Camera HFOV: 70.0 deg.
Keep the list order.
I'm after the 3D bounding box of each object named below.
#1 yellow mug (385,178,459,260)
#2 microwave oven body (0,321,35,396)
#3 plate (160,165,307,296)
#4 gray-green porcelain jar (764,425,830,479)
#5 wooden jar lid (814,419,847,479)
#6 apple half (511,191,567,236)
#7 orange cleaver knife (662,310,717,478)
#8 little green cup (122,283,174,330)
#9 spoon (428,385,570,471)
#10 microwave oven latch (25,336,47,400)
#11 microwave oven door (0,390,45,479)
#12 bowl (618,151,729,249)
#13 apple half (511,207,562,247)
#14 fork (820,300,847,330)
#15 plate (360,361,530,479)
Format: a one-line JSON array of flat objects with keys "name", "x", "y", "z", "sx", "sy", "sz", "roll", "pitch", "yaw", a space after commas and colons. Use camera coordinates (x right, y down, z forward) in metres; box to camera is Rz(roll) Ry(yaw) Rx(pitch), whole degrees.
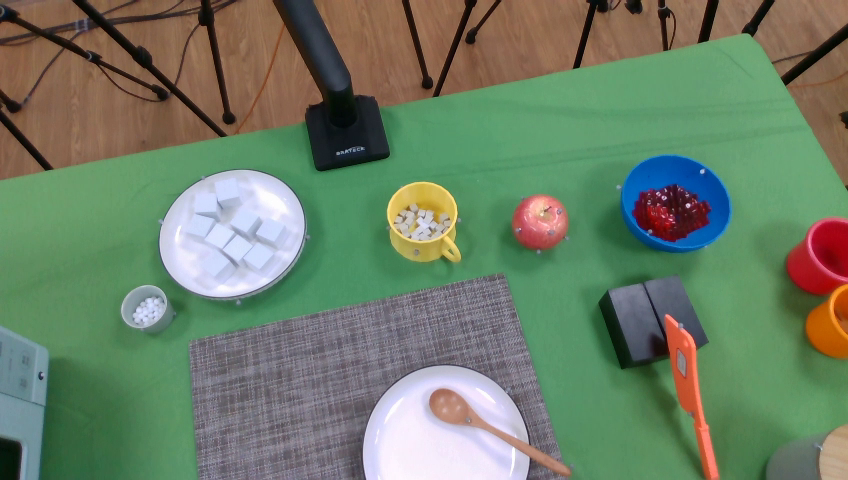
[{"name": "yellow mug", "x": 0.006, "y": -0.020, "z": 0.873, "sx": 0.100, "sy": 0.064, "sz": 0.130, "roll": -39, "pitch": 72, "yaw": -16}, {"name": "microwave oven body", "x": -0.626, "y": 0.306, "z": 0.612, "sx": 0.326, "sy": 0.262, "sz": 0.438, "roll": -9, "pitch": 66, "yaw": -5}, {"name": "plate", "x": -0.273, "y": -0.013, "z": 0.885, "sx": 0.208, "sy": 0.039, "sz": 0.206, "roll": 0, "pitch": 65, "yaw": 0}, {"name": "gray-green porcelain jar", "x": 0.472, "y": 0.275, "z": 0.705, "sx": 0.106, "sy": 0.127, "sz": 0.105, "roll": 0, "pitch": 65, "yaw": 0}, {"name": "wooden jar lid", "x": 0.471, "y": 0.247, "z": 0.649, "sx": 0.108, "sy": 0.021, "sz": 0.107, "roll": 0, "pitch": 68, "yaw": -1}, {"name": "apple half", "x": 0.171, "y": -0.039, "z": 0.878, "sx": 0.080, "sy": 0.075, "sz": 0.053, "roll": 25, "pitch": 64, "yaw": 15}, {"name": "orange cleaver knife", "x": 0.332, "y": 0.193, "z": 0.762, "sx": 0.012, "sy": 0.077, "sz": 0.212, "roll": -15, "pitch": 99, "yaw": -2}, {"name": "little green cup", "x": -0.377, "y": 0.093, "z": 0.834, "sx": 0.061, "sy": 0.039, "sz": 0.061, "roll": 1, "pitch": 66, "yaw": -1}, {"name": "spoon", "x": 0.090, "y": 0.236, "z": 0.753, "sx": 0.192, "sy": 0.022, "sz": 0.041, "roll": 23, "pitch": 62, "yaw": 23}, {"name": "microwave oven latch", "x": -0.508, "y": 0.166, "z": 0.782, "sx": 0.030, "sy": 0.030, "sz": 0.078, "roll": -8, "pitch": 66, "yaw": -4}, {"name": "microwave oven door", "x": -0.474, "y": 0.319, "z": 0.601, "sx": 0.039, "sy": 0.245, "sz": 0.352, "roll": -9, "pitch": 66, "yaw": -4}, {"name": "bowl", "x": 0.349, "y": -0.045, "z": 0.877, "sx": 0.151, "sy": 0.077, "sz": 0.150, "roll": 0, "pitch": 66, "yaw": 0}, {"name": "apple half", "x": 0.153, "y": -0.009, "z": 0.863, "sx": 0.081, "sy": 0.082, "sz": 0.032, "roll": 27, "pitch": 65, "yaw": 12}, {"name": "fork", "x": 0.560, "y": 0.130, "z": 0.758, "sx": 0.028, "sy": 0.019, "sz": 0.206, "roll": 10, "pitch": 22, "yaw": -2}, {"name": "plate", "x": 0.025, "y": 0.257, "z": 0.758, "sx": 0.209, "sy": 0.038, "sz": 0.207, "roll": 0, "pitch": 66, "yaw": 0}]
